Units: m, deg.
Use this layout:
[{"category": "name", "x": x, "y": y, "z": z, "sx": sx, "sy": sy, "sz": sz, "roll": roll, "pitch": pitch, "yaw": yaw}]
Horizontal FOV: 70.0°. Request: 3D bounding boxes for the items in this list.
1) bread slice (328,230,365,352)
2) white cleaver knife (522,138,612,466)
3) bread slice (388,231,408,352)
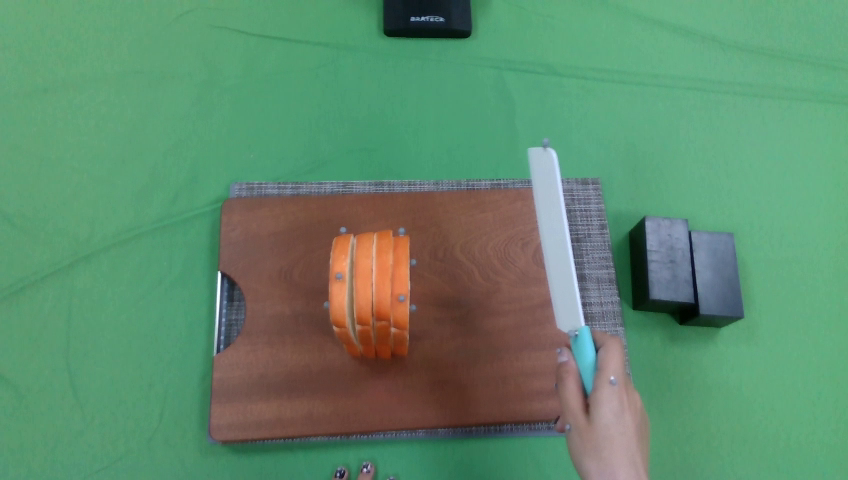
[{"category": "bread slice", "x": -0.076, "y": 0.048, "z": 0.604, "sx": 0.019, "sy": 0.132, "sz": 0.104, "roll": -1, "pitch": 69, "yaw": 2}, {"category": "white cleaver knife", "x": 0.121, "y": 0.055, "z": 0.514, "sx": 0.021, "sy": 0.065, "sz": 0.287, "roll": -12, "pitch": 96, "yaw": -8}, {"category": "bread slice", "x": -0.026, "y": 0.052, "z": 0.604, "sx": 0.018, "sy": 0.135, "sz": 0.106, "roll": 0, "pitch": 74, "yaw": -4}]
